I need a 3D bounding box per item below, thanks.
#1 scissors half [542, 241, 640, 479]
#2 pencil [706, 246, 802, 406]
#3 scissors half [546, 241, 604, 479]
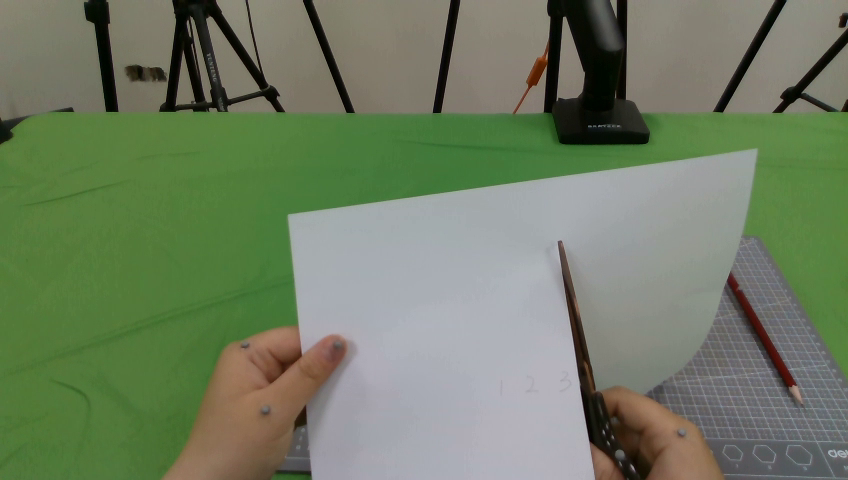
[{"bbox_3d":[0.093,0.083,0.334,0.013,0.040,0.174,-16,78,-4],"label":"scissors half"},{"bbox_3d":[0.292,0.069,0.544,0.012,0.012,0.192,-1,39,1],"label":"pencil"},{"bbox_3d":[0.091,0.085,0.355,0.013,0.175,0.040,-15,9,-9],"label":"scissors half"}]
